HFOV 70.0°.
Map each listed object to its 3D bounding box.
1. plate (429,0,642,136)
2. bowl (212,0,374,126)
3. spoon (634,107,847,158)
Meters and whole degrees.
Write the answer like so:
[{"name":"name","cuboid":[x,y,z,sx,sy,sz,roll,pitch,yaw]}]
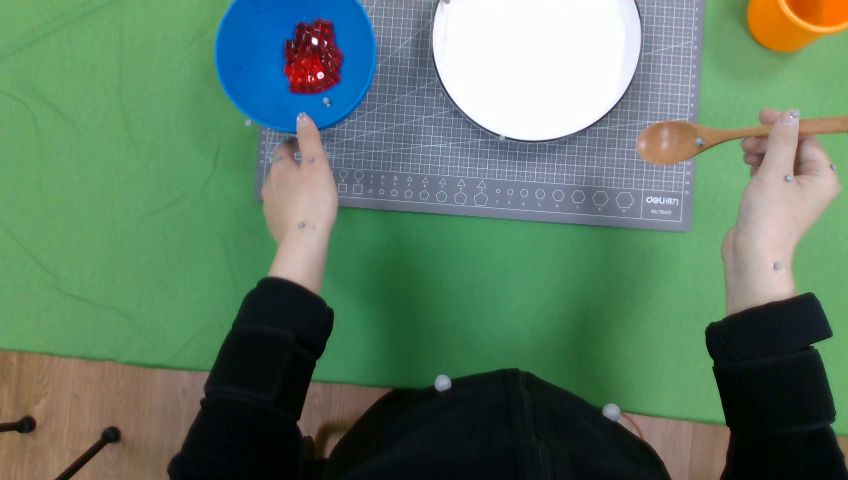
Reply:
[{"name":"plate","cuboid":[0.110,-0.206,0.608,0.209,0.038,0.209,0,89,2]},{"name":"bowl","cuboid":[-0.119,-0.179,0.592,0.151,0.077,0.151,0,89,1]},{"name":"spoon","cuboid":[0.259,-0.090,0.481,0.022,0.192,0.041,15,83,-39]}]
